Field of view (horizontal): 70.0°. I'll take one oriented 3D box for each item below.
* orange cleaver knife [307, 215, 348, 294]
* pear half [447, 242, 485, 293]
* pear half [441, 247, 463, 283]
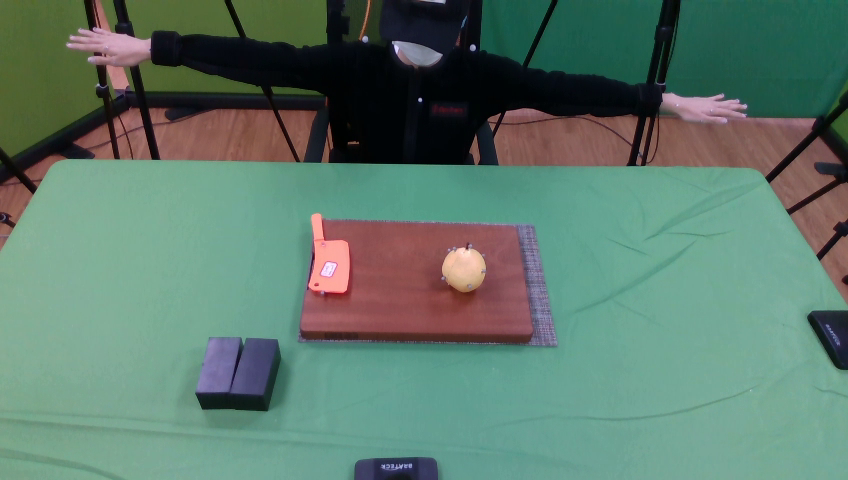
[{"bbox_3d":[-0.180,0.023,1.126,0.077,0.012,0.210,-6,44,-6],"label":"orange cleaver knife"},{"bbox_3d":[0.080,0.047,1.059,0.056,0.110,0.076,24,54,19],"label":"pear half"},{"bbox_3d":[0.050,0.039,1.079,0.031,0.088,0.070,24,54,17],"label":"pear half"}]
